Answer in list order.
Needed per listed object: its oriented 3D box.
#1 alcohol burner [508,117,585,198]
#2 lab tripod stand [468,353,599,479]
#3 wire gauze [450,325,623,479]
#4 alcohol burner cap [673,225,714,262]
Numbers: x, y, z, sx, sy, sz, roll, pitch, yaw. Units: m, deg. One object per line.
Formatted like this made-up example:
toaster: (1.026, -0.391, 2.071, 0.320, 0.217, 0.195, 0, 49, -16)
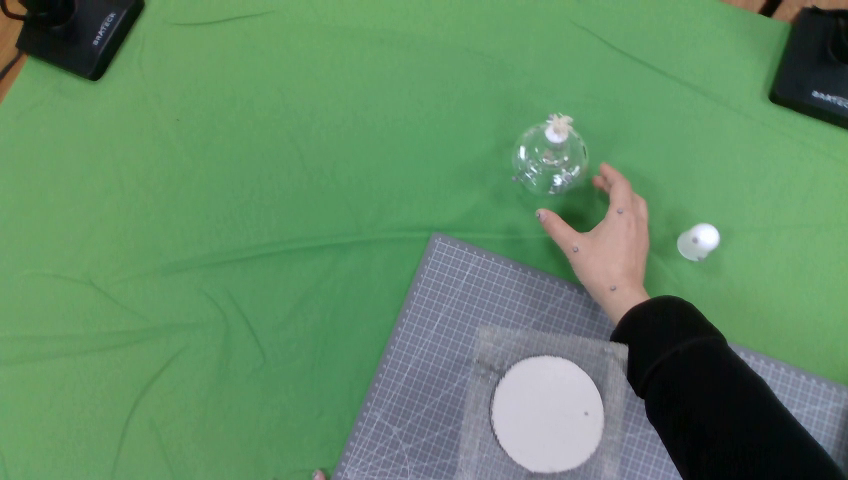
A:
alcohol burner: (0.123, -0.087, 0.601, 0.078, 0.120, 0.077, -1, 73, 4)
lab tripod stand: (0.096, 0.153, 0.531, 0.148, 0.132, 0.147, 0, 77, 2)
wire gauze: (0.089, 0.134, 0.467, 0.121, 0.011, 0.124, 8, 78, 4)
alcohol burner cap: (0.273, 0.002, 0.608, 0.034, 0.048, 0.033, -2, 75, 7)
